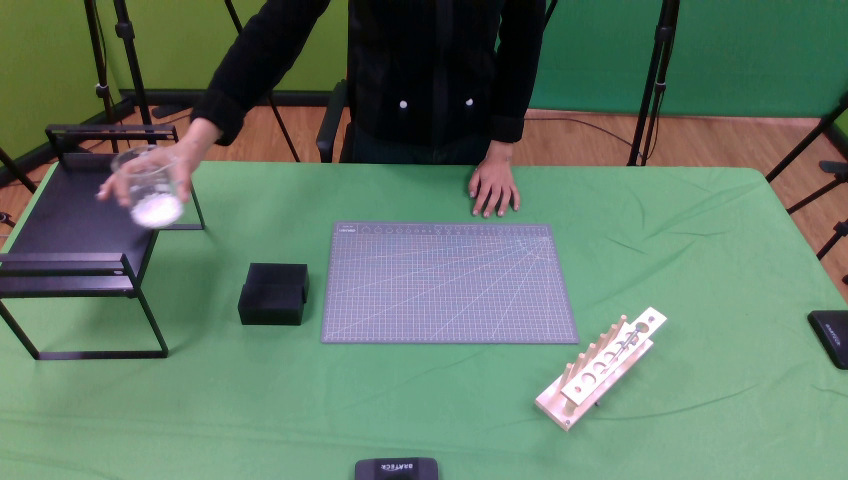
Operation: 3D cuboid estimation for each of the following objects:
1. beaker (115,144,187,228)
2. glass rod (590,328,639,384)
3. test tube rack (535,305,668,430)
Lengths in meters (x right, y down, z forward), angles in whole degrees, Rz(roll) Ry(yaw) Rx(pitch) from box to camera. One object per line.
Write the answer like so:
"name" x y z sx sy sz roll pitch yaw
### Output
"beaker" -0.377 -0.074 0.856 0.084 0.101 0.073 -6 43 -12
"glass rod" 0.279 0.182 0.902 0.008 0.200 0.008 4 52 -6
"test tube rack" 0.290 0.193 0.984 0.242 0.085 0.066 -32 56 -30
